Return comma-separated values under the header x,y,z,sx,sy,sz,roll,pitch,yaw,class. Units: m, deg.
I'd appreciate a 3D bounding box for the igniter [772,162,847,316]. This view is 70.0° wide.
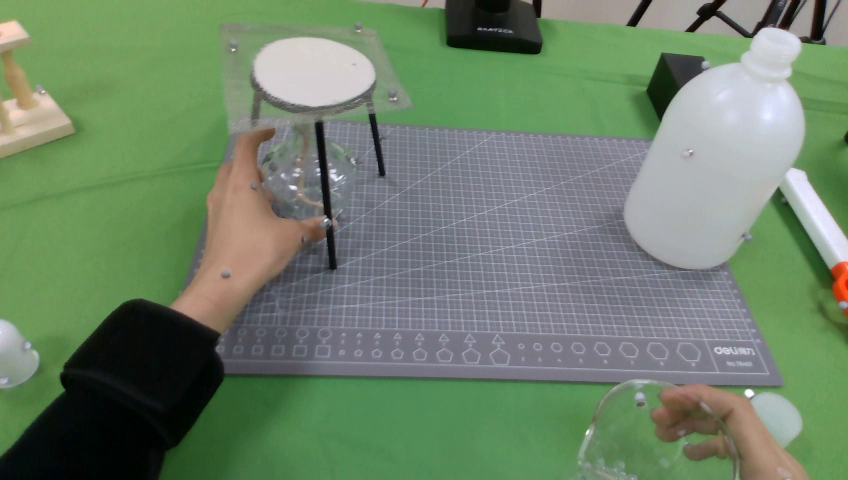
x,y,z,sx,sy,sz,roll,pitch,yaw,class
0.365,0.027,0.523,0.057,0.025,0.273,11,46,-12,igniter

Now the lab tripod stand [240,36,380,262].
x,y,z,sx,sy,sz,roll,pitch,yaw,class
-0.086,-0.078,0.482,0.148,0.132,0.147,5,48,-5,lab tripod stand

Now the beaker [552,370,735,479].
x,y,z,sx,sy,sz,roll,pitch,yaw,class
0.113,0.132,0.341,0.084,0.101,0.073,-7,48,-11,beaker

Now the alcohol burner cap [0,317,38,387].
x,y,z,sx,sy,sz,roll,pitch,yaw,class
-0.273,0.069,0.386,0.034,0.048,0.033,5,47,-5,alcohol burner cap

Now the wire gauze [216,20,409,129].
x,y,z,sx,sy,sz,roll,pitch,yaw,class
-0.083,-0.125,0.433,0.122,0.011,0.123,-7,50,-15,wire gauze

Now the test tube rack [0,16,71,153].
x,y,z,sx,sy,sz,roll,pitch,yaw,class
-0.437,-0.098,0.489,0.242,0.086,0.066,-31,58,-31,test tube rack

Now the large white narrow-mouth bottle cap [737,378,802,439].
x,y,z,sx,sy,sz,roll,pitch,yaw,class
0.242,0.119,0.426,0.038,0.024,0.037,4,47,-3,large white narrow-mouth bottle cap

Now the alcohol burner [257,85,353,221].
x,y,z,sx,sy,sz,roll,pitch,yaw,class
-0.095,-0.073,0.490,0.078,0.120,0.077,6,45,-5,alcohol burner

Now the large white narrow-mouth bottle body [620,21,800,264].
x,y,z,sx,sy,sz,roll,pitch,yaw,class
0.232,-0.076,0.482,0.102,0.196,0.101,3,47,-3,large white narrow-mouth bottle body
